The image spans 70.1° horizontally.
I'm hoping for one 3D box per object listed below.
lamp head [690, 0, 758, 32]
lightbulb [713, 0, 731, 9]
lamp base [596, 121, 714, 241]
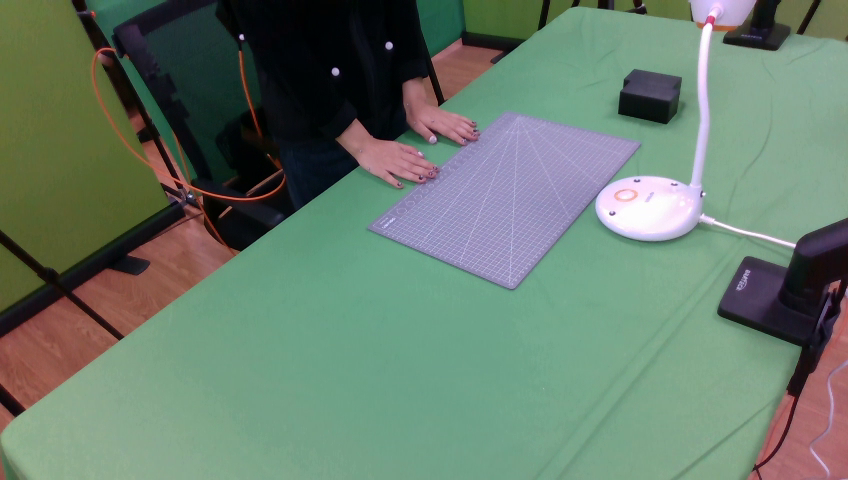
[{"bbox_3d":[0.434,-0.363,0.870,0.112,0.123,0.112,2,28,0],"label":"lamp head"},{"bbox_3d":[0.432,-0.387,0.864,0.059,0.108,0.059,-5,31,4],"label":"lightbulb"},{"bbox_3d":[0.363,-0.110,0.921,0.178,0.181,0.160,13,45,21],"label":"lamp base"}]
